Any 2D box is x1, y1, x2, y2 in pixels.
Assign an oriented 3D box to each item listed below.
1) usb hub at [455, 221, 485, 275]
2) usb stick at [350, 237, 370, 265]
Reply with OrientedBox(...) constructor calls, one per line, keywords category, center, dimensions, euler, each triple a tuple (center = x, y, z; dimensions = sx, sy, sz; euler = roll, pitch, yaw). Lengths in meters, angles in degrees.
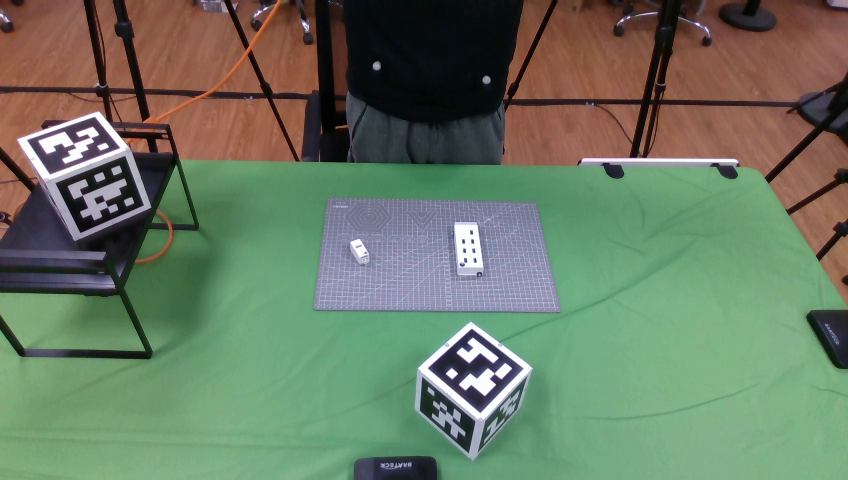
OrientedBox(category="usb hub", center=(0.088, 0.014, 1.177), dimensions=(0.049, 0.025, 0.124), euler=(0, 46, -3))
OrientedBox(category="usb stick", center=(-0.120, 0.025, 1.149), dimensions=(0.021, 0.027, 0.059), euler=(-30, 51, 6))
